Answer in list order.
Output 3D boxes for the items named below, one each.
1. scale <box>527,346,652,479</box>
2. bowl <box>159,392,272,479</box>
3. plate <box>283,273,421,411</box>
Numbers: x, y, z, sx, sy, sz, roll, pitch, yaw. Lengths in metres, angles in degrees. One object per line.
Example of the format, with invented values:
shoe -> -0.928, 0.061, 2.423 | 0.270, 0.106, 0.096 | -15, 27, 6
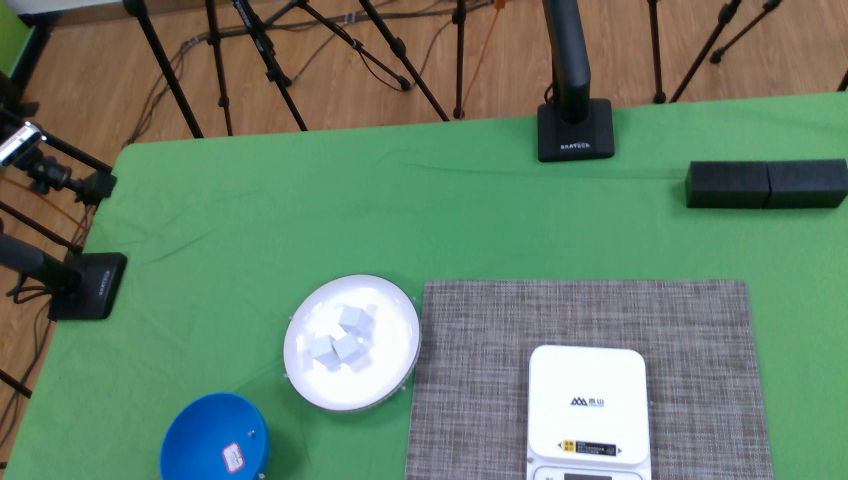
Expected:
scale -> 0.208, 0.234, 0.770 | 0.148, 0.032, 0.199 | 0, 63, 13
bowl -> -0.269, 0.291, 0.826 | 0.151, 0.077, 0.150 | -5, 62, 10
plate -> -0.103, 0.149, 0.888 | 0.207, 0.039, 0.206 | -5, 62, 10
